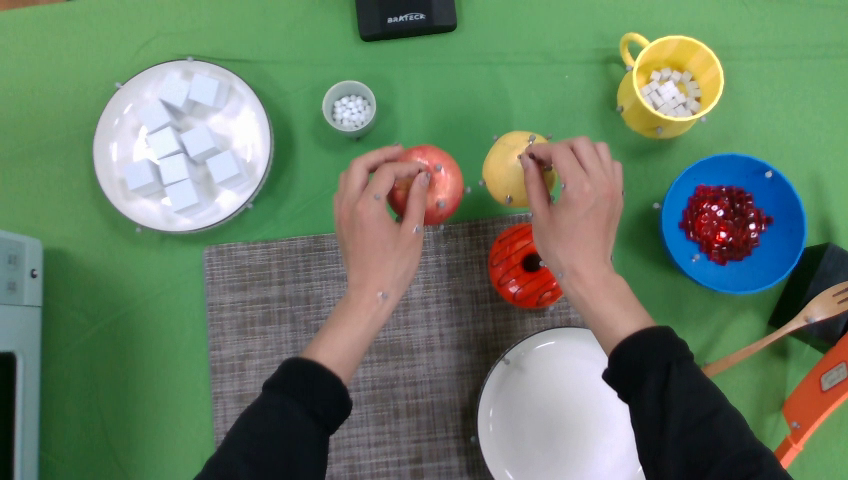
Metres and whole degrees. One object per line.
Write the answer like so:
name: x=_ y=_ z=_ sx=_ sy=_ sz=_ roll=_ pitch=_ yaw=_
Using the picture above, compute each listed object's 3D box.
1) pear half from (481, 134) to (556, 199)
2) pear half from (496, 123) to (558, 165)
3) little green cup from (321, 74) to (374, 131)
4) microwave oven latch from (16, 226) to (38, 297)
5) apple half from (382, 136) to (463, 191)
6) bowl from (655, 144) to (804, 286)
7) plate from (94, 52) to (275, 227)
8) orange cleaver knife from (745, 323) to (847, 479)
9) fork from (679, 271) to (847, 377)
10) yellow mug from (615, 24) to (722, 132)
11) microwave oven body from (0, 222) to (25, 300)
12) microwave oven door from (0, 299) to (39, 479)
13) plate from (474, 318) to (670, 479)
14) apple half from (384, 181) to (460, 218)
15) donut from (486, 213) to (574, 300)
pear half: x=0.093 y=-0.071 z=0.605 sx=0.076 sy=0.110 sz=0.056 roll=22 pitch=87 yaw=3
pear half: x=0.107 y=-0.102 z=0.618 sx=0.070 sy=0.088 sz=0.031 roll=20 pitch=86 yaw=6
little green cup: x=-0.087 y=-0.159 z=0.712 sx=0.061 sy=0.039 sz=0.061 roll=0 pitch=82 yaw=2
microwave oven latch: x=-0.453 y=0.025 z=0.678 sx=0.030 sy=0.029 sz=0.079 roll=-1 pitch=83 yaw=1
apple half: x=0.000 y=-0.076 z=0.611 sx=0.080 sy=0.075 sz=0.053 roll=1 pitch=84 yaw=12
bowl: x=0.320 y=-0.022 z=0.666 sx=0.151 sy=0.077 sz=0.151 roll=0 pitch=84 yaw=1
plate: x=-0.276 y=-0.115 z=0.711 sx=0.207 sy=0.039 sz=0.207 roll=0 pitch=83 yaw=1
orange cleaver knife: x=0.400 y=0.171 z=0.638 sx=0.012 sy=0.077 sz=0.212 roll=26 pitch=114 yaw=3
fork: x=0.367 y=0.093 z=0.646 sx=0.207 sy=0.018 sz=0.028 roll=-36 pitch=89 yaw=17
yellow mug: x=0.268 y=-0.194 z=0.694 sx=0.100 sy=0.064 sz=0.130 roll=-38 pitch=82 yaw=-3
microwave oven body: x=-0.594 y=0.195 z=0.563 sx=0.326 sy=0.261 sz=0.440 roll=-3 pitch=83 yaw=0
microwave oven door: x=-0.446 y=0.228 z=0.551 sx=0.039 sy=0.244 sz=0.354 roll=-4 pitch=82 yaw=1
plate: x=0.158 y=0.189 z=0.659 sx=0.209 sy=0.038 sz=0.208 roll=0 pitch=83 yaw=1
apple half: x=-0.001 y=-0.037 z=0.610 sx=0.081 sy=0.081 sz=0.032 roll=1 pitch=83 yaw=2
donut: x=0.118 y=0.019 z=0.679 sx=0.099 sy=0.048 sz=0.099 roll=0 pitch=84 yaw=4
